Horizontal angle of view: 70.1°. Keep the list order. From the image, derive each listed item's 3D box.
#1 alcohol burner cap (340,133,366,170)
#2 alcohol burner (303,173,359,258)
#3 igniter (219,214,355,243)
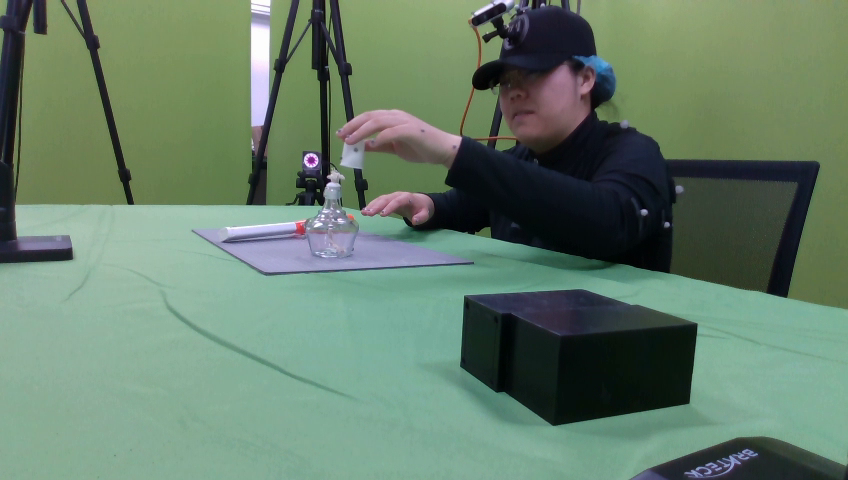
[{"bbox_3d":[-0.094,-0.120,0.814,0.034,0.048,0.034,7,1,0],"label":"alcohol burner cap"},{"bbox_3d":[-0.130,-0.034,0.850,0.078,0.119,0.078,2,5,0],"label":"alcohol burner"},{"bbox_3d":[-0.219,-0.021,1.033,0.057,0.025,0.278,-20,-7,39],"label":"igniter"}]
